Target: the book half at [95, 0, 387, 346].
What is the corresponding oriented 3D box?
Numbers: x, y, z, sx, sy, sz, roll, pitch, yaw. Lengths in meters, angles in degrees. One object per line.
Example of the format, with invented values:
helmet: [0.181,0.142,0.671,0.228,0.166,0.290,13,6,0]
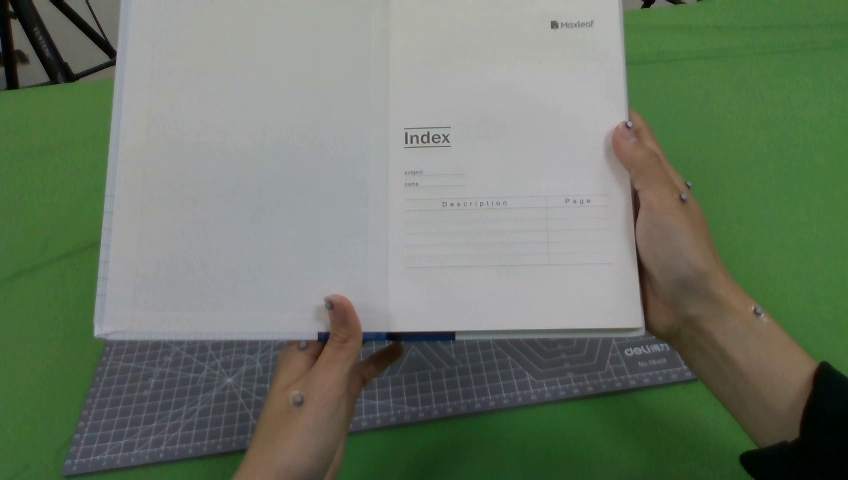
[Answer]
book half: [-0.087,-0.049,0.324,0.144,0.007,0.209,4,81,-24]
